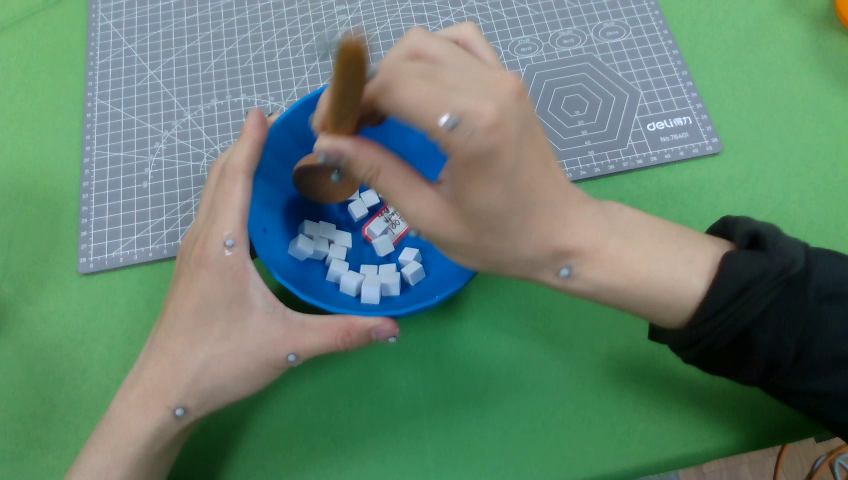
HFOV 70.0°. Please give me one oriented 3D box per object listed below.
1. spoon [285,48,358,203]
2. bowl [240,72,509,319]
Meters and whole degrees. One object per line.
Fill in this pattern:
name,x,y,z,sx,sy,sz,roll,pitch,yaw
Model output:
spoon,-0.046,-0.044,0.293,0.042,0.193,0.021,6,83,-12
bowl,-0.026,-0.017,0.373,0.151,0.077,0.150,-1,70,2
